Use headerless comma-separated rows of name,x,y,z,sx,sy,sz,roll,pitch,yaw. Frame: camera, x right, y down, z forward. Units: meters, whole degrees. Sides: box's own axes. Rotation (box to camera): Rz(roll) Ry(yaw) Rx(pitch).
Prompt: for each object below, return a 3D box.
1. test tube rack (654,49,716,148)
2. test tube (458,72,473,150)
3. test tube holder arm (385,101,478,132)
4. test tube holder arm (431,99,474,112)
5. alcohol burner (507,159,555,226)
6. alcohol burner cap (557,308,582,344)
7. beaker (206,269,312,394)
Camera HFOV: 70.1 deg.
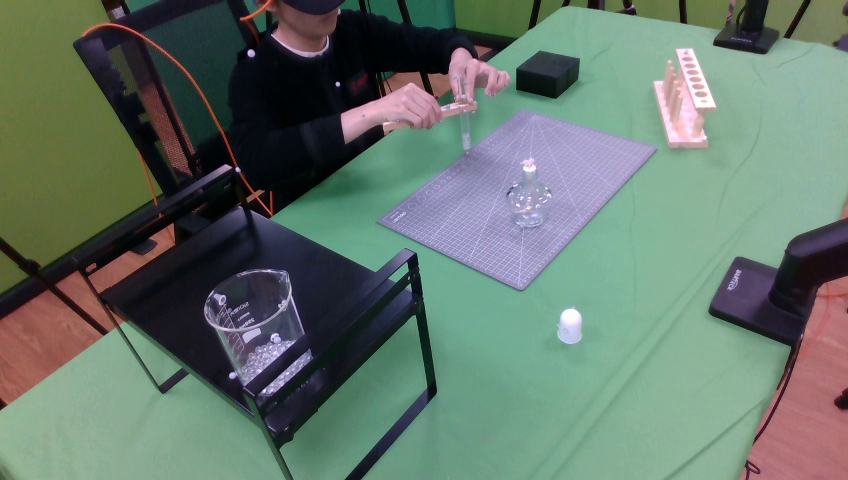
test tube rack,0.502,-0.281,1.176,0.066,0.085,0.241,2,41,11
test tube,0.075,-0.228,1.084,0.017,0.151,0.017,-5,39,5
test tube holder arm,0.015,-0.215,1.048,0.179,0.015,0.013,-19,33,-21
test tube holder arm,0.051,-0.233,1.070,0.088,0.015,0.010,-24,36,-27
alcohol burner,0.172,-0.081,0.969,0.078,0.119,0.077,-4,42,4
alcohol burner cap,0.194,0.111,0.802,0.034,0.048,0.033,-4,39,4
beaker,-0.146,0.086,0.560,0.073,0.101,0.084,19,46,27
